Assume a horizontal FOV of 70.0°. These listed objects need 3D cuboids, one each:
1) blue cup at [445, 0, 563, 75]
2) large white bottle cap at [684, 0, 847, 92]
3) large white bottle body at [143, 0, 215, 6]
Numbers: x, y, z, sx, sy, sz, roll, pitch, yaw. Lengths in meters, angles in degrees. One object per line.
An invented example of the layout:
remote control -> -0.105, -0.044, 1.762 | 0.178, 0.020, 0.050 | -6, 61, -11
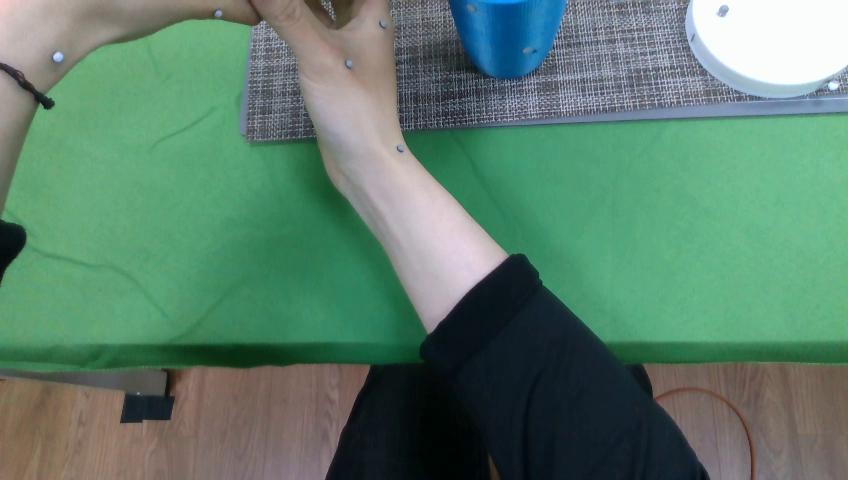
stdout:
blue cup -> 0.053, -0.160, 0.397 | 0.092, 0.101, 0.092 | -2, 73, 8
large white bottle cap -> 0.241, -0.157, 0.418 | 0.115, 0.018, 0.114 | -2, 73, 6
large white bottle body -> -0.077, -0.196, 0.310 | 0.184, 0.131, 0.130 | 1, 73, 16
